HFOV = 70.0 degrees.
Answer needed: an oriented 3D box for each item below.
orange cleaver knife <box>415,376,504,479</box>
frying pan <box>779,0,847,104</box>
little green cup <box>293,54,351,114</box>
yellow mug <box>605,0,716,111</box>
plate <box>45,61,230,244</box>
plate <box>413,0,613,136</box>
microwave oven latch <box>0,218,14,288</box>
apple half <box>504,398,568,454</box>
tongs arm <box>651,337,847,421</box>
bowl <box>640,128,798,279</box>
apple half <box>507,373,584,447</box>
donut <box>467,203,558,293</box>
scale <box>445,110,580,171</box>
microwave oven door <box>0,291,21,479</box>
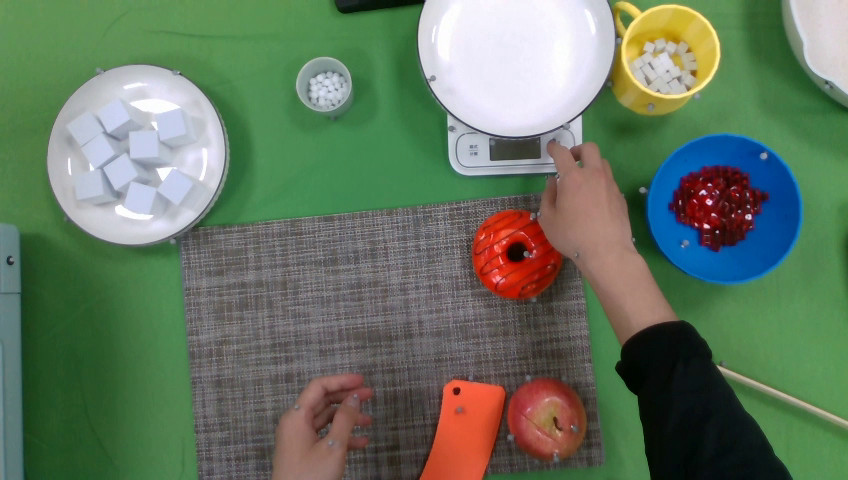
[{"bbox_3d":[0.023,0.245,0.659,0.077,0.012,0.211,23,86,-1],"label":"orange cleaver knife"},{"bbox_3d":[0.569,-0.177,0.614,0.307,0.103,0.485,-33,78,2],"label":"frying pan"},{"bbox_3d":[-0.112,-0.173,0.683,0.061,0.039,0.061,0,86,4],"label":"little green cup"},{"bbox_3d":[0.241,-0.208,0.652,0.100,0.064,0.130,-38,85,1],"label":"yellow mug"},{"bbox_3d":[-0.320,-0.097,0.691,0.207,0.039,0.207,0,87,3],"label":"plate"},{"bbox_3d":[0.093,-0.212,0.645,0.209,0.038,0.208,0,87,3],"label":"plate"},{"bbox_3d":[-0.477,0.014,0.674,0.030,0.029,0.079,-1,87,3],"label":"microwave oven latch"},{"bbox_3d":[0.109,0.199,0.629,0.081,0.081,0.033,37,86,5],"label":"apple half"},{"bbox_3d":[0.423,0.187,0.642,0.387,0.028,0.028,24,80,4],"label":"tongs arm"},{"bbox_3d":[0.294,-0.034,0.635,0.151,0.077,0.151,0,88,3],"label":"bowl"},{"bbox_3d":[0.133,0.168,0.631,0.080,0.075,0.053,36,85,8],"label":"apple half"},{"bbox_3d":[0.095,0.009,0.655,0.099,0.048,0.099,0,87,4],"label":"donut"},{"bbox_3d":[0.097,-0.180,0.676,0.148,0.031,0.200,-2,87,3],"label":"scale"},{"bbox_3d":[-0.474,0.226,0.561,0.039,0.244,0.355,-4,86,3],"label":"microwave oven door"}]
